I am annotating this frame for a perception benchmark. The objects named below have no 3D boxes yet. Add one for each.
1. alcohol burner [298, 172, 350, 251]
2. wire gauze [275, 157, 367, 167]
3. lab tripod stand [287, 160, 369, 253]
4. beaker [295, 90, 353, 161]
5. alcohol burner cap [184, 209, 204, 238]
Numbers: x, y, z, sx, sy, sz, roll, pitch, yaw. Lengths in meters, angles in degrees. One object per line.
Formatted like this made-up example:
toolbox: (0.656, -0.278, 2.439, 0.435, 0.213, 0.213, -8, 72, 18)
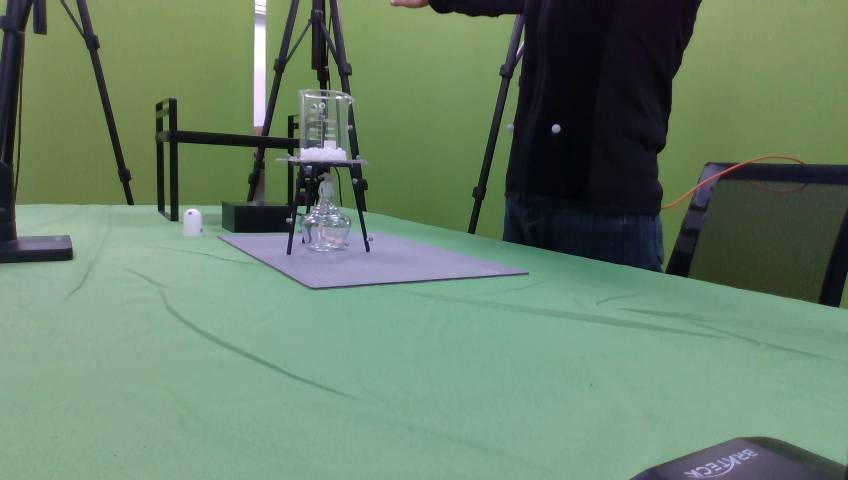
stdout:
alcohol burner: (-0.149, -0.043, 0.911, 0.078, 0.119, 0.078, 3, 5, 0)
wire gauze: (-0.148, -0.117, 0.895, 0.121, 0.011, 0.125, 3, 5, -3)
lab tripod stand: (-0.157, -0.053, 0.902, 0.148, 0.131, 0.148, 0, 7, 0)
beaker: (-0.146, -0.164, 0.884, 0.084, 0.100, 0.074, 1, 7, -6)
alcohol burner cap: (-0.390, -0.029, 1.025, 0.034, 0.048, 0.034, 2, 9, 0)
